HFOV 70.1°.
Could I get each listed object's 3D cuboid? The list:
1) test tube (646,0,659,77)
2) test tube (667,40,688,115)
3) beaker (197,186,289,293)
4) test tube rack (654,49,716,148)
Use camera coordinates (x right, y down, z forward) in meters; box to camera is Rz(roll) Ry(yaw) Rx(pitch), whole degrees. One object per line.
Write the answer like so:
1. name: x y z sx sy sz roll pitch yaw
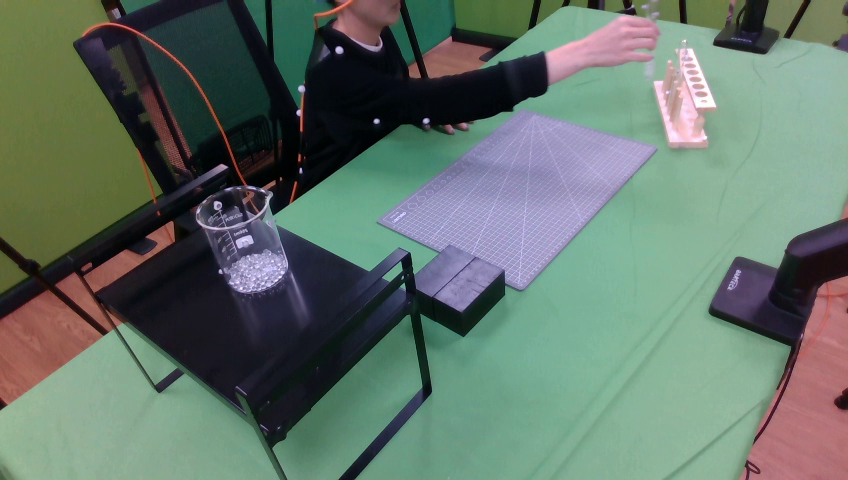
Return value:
1. test tube: 0.389 -0.345 1.032 0.017 0.151 0.017 -9 44 9
2. test tube: 0.477 -0.303 1.138 0.017 0.151 0.017 -5 42 5
3. beaker: -0.192 0.001 0.666 0.084 0.101 0.073 -33 47 -27
4. test tube rack: 0.502 -0.281 1.176 0.066 0.085 0.241 1 41 11
